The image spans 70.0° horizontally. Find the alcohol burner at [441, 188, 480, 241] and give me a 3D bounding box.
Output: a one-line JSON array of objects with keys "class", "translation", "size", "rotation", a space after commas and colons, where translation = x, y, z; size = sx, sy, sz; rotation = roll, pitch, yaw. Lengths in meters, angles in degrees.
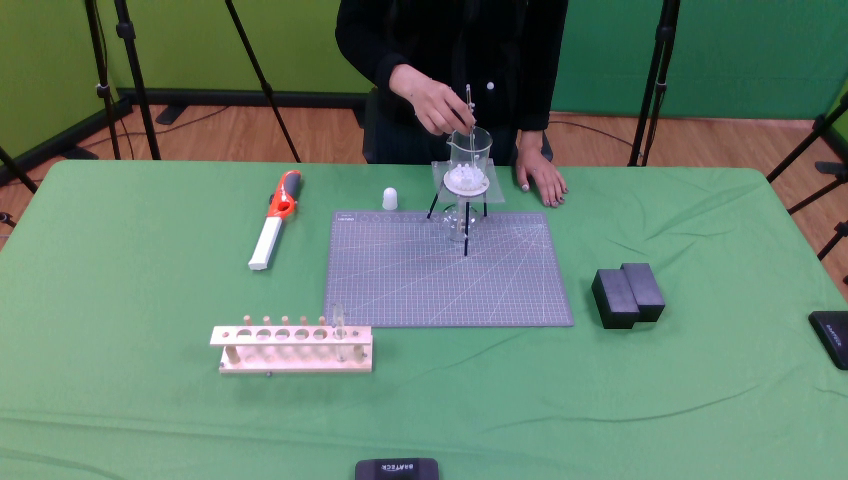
[{"class": "alcohol burner", "translation": [0.073, -0.055, 1.189], "size": [0.078, 0.120, 0.077], "rotation": [1, 48, -1]}]

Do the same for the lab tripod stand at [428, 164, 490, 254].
[{"class": "lab tripod stand", "translation": [0.078, -0.068, 1.188], "size": [0.148, 0.132, 0.147], "rotation": [3, 47, -3]}]

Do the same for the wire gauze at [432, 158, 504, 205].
[{"class": "wire gauze", "translation": [0.081, -0.111, 1.138], "size": [0.125, 0.011, 0.120], "rotation": [0, 48, -7]}]

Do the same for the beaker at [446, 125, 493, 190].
[{"class": "beaker", "translation": [0.079, -0.148, 1.106], "size": [0.084, 0.101, 0.073], "rotation": [-3, 47, -7]}]

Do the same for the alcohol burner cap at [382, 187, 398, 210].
[{"class": "alcohol burner cap", "translation": [-0.072, -0.090, 1.266], "size": [0.034, 0.048, 0.033], "rotation": [2, 47, -2]}]

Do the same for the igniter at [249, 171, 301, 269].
[{"class": "igniter", "translation": [-0.297, -0.049, 1.221], "size": [0.057, 0.025, 0.275], "rotation": [-2, 45, 9]}]

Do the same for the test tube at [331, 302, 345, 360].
[{"class": "test tube", "translation": [-0.132, 0.144, 0.938], "size": [0.017, 0.151, 0.017], "rotation": [2, 49, -3]}]

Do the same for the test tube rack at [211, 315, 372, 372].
[{"class": "test tube rack", "translation": [-0.208, 0.163, 0.982], "size": [0.242, 0.085, 0.066], "rotation": [1, 46, -4]}]

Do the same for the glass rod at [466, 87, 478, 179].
[{"class": "glass rod", "translation": [0.086, -0.181, 1.062], "size": [0.008, 0.201, 0.008], "rotation": [-5, 47, 6]}]
